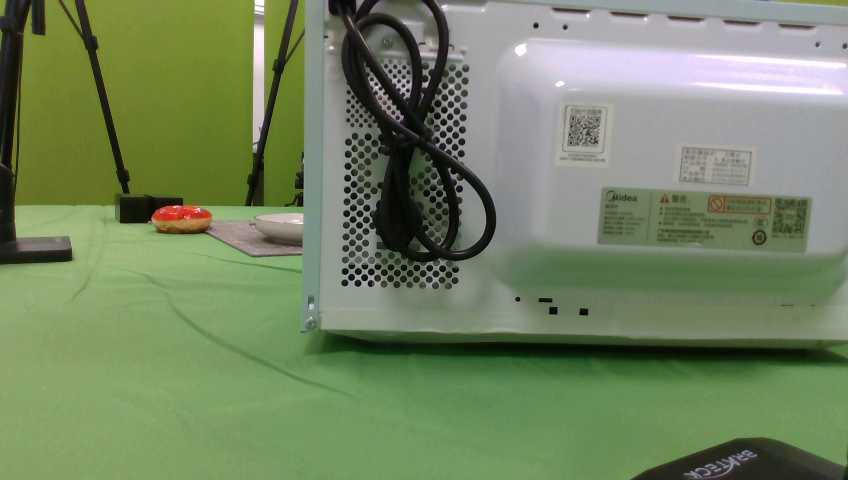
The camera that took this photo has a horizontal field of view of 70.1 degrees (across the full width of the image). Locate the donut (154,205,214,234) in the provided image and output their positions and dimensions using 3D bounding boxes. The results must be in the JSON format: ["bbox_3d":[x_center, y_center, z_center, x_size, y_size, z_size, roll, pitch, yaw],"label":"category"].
[{"bbox_3d":[-0.426,-0.037,1.075,0.099,0.048,0.099,2,12,0],"label":"donut"}]

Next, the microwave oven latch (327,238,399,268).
[{"bbox_3d":[-0.069,0.015,0.694,0.079,0.029,0.030,3,7,-3],"label":"microwave oven latch"}]

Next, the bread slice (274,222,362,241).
[{"bbox_3d":[-0.181,-0.016,1.011,0.104,0.019,0.132,5,8,27],"label":"bread slice"}]

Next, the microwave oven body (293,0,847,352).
[{"bbox_3d":[0.122,-0.055,0.550,0.442,0.260,0.325,3,7,-5],"label":"microwave oven body"}]

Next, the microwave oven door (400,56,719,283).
[{"bbox_3d":[0.155,-0.078,0.697,0.356,0.243,0.039,2,8,-5],"label":"microwave oven door"}]

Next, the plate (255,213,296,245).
[{"bbox_3d":[-0.177,-0.018,1.017,0.208,0.039,0.207,2,7,0],"label":"plate"}]
